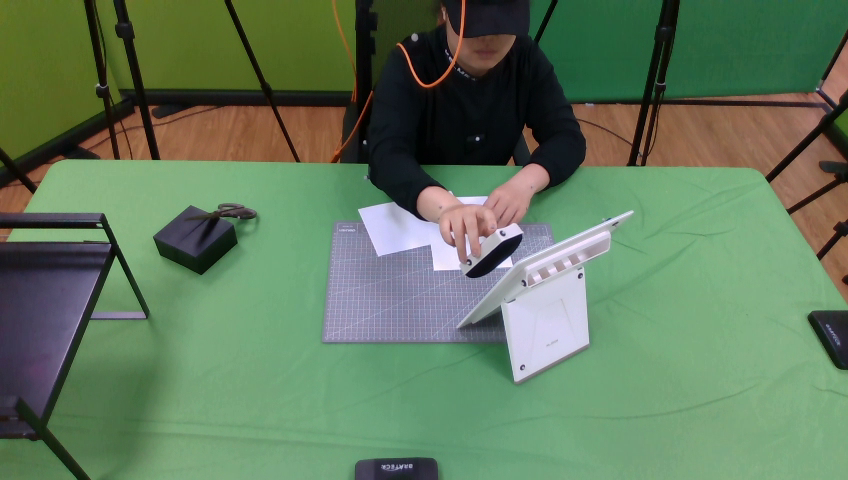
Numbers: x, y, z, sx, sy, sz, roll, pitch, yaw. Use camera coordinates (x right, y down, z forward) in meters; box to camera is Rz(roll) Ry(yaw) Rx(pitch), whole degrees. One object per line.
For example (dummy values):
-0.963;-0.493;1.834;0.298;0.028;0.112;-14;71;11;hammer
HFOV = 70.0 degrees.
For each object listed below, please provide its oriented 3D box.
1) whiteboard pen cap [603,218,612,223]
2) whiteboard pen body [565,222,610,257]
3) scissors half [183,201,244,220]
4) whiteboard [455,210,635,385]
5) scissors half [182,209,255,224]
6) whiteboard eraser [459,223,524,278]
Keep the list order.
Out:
0.379;-0.031;1.255;0.033;0.018;0.018;-33;57;-30;whiteboard pen cap
0.335;-0.004;1.228;0.141;0.017;0.017;-32;56;-29;whiteboard pen body
-0.405;-0.054;1.163;0.040;0.013;0.175;28;18;8;scissors half
0.211;0.111;0.955;0.217;0.306;0.143;-21;72;-23;whiteboard
-0.389;-0.043;1.158;0.040;0.013;0.175;40;21;23;scissors half
0.107;0.020;0.948;0.056;0.113;0.041;-15;67;-41;whiteboard eraser
